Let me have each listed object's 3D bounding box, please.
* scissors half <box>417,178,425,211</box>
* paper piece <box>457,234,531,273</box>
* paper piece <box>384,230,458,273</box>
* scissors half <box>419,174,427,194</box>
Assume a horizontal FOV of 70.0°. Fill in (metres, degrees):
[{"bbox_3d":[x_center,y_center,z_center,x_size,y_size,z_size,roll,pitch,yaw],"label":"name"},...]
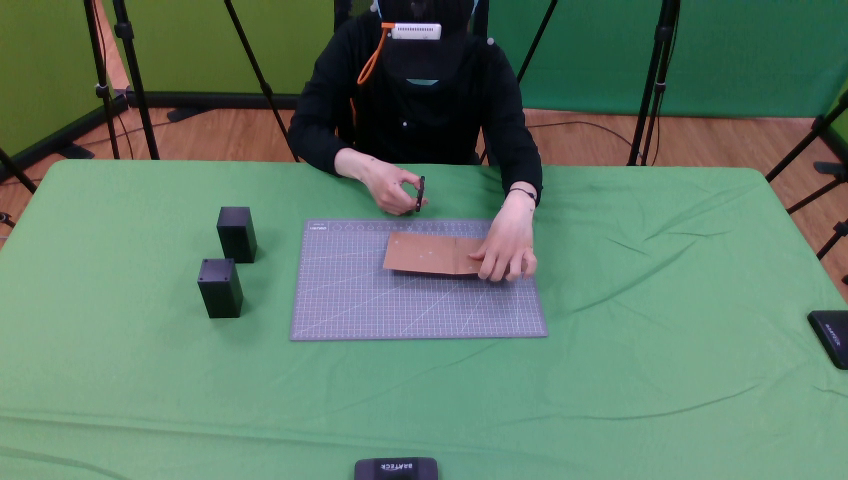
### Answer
[{"bbox_3d":[-0.006,-0.091,1.168,0.013,0.175,0.040,11,76,2],"label":"scissors half"},{"bbox_3d":[0.131,0.025,1.158,0.138,0.009,0.135,1,32,4],"label":"paper piece"},{"bbox_3d":[-0.003,0.018,1.160,0.136,0.004,0.134,6,31,1],"label":"paper piece"},{"bbox_3d":[-0.002,-0.111,1.171,0.013,0.175,0.040,6,92,1],"label":"scissors half"}]
